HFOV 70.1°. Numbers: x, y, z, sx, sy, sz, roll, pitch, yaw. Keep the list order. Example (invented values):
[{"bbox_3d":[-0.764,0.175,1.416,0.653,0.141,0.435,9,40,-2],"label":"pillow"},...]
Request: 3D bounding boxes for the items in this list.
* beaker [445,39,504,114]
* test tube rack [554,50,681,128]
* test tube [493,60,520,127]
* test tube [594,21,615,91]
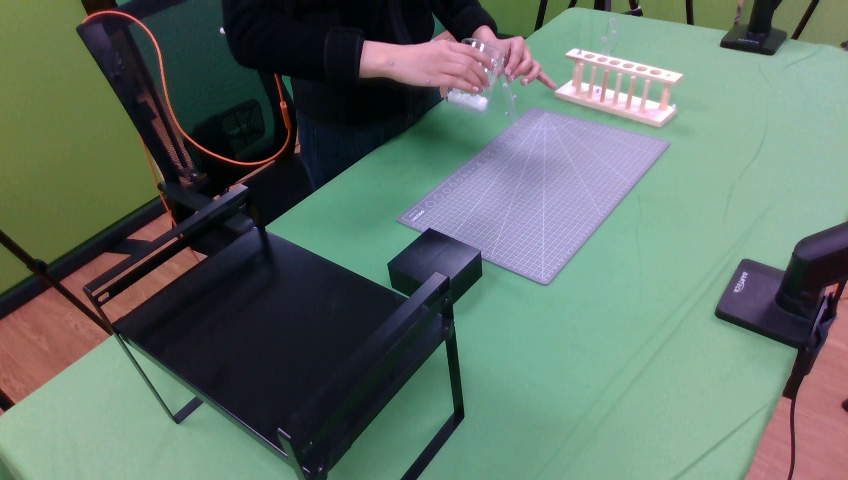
[{"bbox_3d":[0.082,-0.263,0.985,0.073,0.100,0.085,22,6,36],"label":"beaker"},{"bbox_3d":[0.387,-0.311,1.234,0.240,0.085,0.067,28,52,35],"label":"test tube rack"},{"bbox_3d":[0.148,-0.257,1.074,0.017,0.151,0.017,-12,51,15],"label":"test tube"},{"bbox_3d":[0.366,-0.372,1.232,0.017,0.151,0.017,0,43,0],"label":"test tube"}]
